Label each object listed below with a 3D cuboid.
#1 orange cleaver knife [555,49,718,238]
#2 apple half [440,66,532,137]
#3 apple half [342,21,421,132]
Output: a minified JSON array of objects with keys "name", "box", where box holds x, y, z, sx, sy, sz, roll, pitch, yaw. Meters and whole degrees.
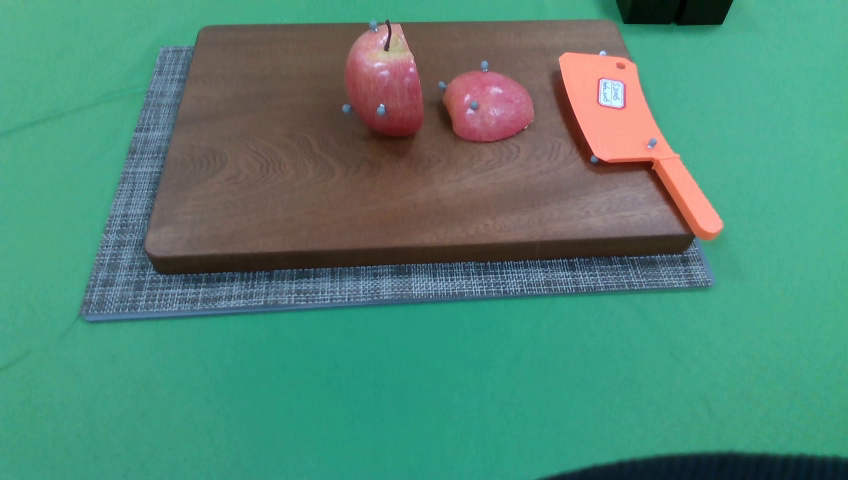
[{"name":"orange cleaver knife","box":[0.164,-0.087,0.488,0.077,0.012,0.209,-7,57,-11]},{"name":"apple half","box":[0.052,-0.124,0.503,0.081,0.033,0.080,0,54,1]},{"name":"apple half","box":[-0.036,-0.124,0.474,0.053,0.075,0.080,-14,59,-7]}]
